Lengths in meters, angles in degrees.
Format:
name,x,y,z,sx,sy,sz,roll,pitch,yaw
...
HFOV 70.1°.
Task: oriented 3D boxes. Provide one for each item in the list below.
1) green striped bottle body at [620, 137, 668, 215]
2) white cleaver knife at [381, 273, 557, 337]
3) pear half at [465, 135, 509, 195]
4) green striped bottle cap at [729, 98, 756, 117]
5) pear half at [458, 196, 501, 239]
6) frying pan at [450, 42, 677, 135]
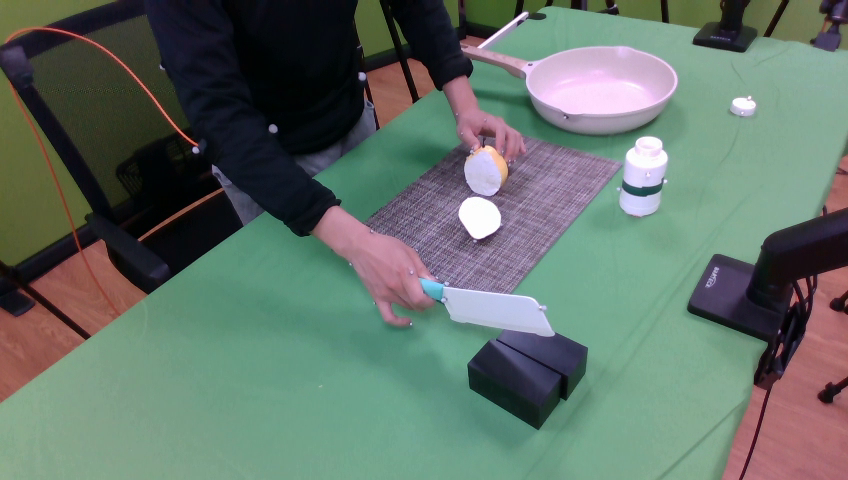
name,x,y,z,sx,sy,sz,roll,pitch,yaw
green striped bottle body,0.350,-0.103,0.963,0.063,0.120,0.063,-4,41,4
white cleaver knife,0.041,0.082,0.764,0.284,0.066,0.021,6,38,48
pear half,0.111,-0.138,1.039,0.076,0.110,0.056,16,45,19
green striped bottle cap,0.623,-0.259,1.182,0.044,0.020,0.044,-3,41,3
pear half,0.087,-0.030,0.975,0.070,0.031,0.088,15,55,0
frying pan,0.268,-0.344,1.267,0.485,0.103,0.307,26,49,21
